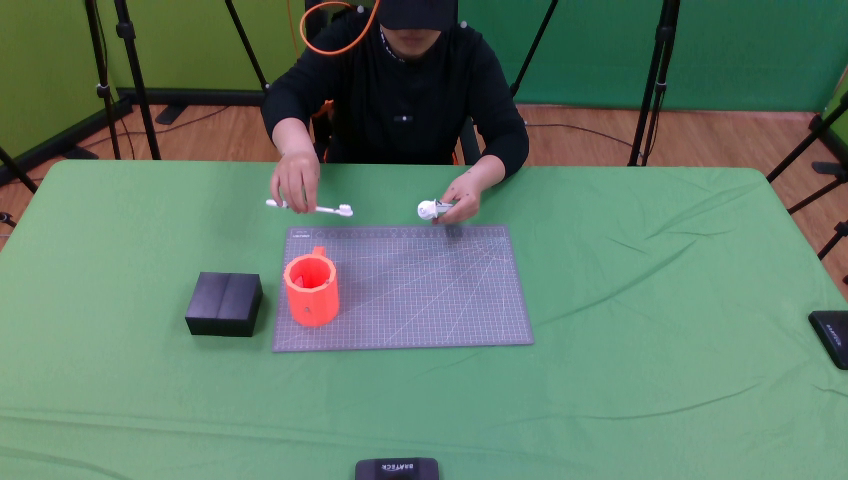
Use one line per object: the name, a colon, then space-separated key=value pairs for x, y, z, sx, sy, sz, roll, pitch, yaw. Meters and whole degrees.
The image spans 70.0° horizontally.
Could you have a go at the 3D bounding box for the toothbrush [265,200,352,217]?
toothbrush: x=-0.202 y=-0.058 z=1.041 sx=0.181 sy=0.017 sz=0.014 roll=8 pitch=40 yaw=25

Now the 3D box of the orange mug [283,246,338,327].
orange mug: x=-0.192 y=0.074 z=1.056 sx=0.083 sy=0.101 sz=0.125 roll=5 pitch=50 yaw=1

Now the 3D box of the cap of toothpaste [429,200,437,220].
cap of toothpaste: x=0.016 y=-0.053 z=1.062 sx=0.011 sy=0.037 sz=0.037 roll=6 pitch=46 yaw=7

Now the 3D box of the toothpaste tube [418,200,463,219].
toothpaste tube: x=0.028 y=-0.058 z=1.152 sx=0.055 sy=0.165 sz=0.034 roll=-17 pitch=86 yaw=19
